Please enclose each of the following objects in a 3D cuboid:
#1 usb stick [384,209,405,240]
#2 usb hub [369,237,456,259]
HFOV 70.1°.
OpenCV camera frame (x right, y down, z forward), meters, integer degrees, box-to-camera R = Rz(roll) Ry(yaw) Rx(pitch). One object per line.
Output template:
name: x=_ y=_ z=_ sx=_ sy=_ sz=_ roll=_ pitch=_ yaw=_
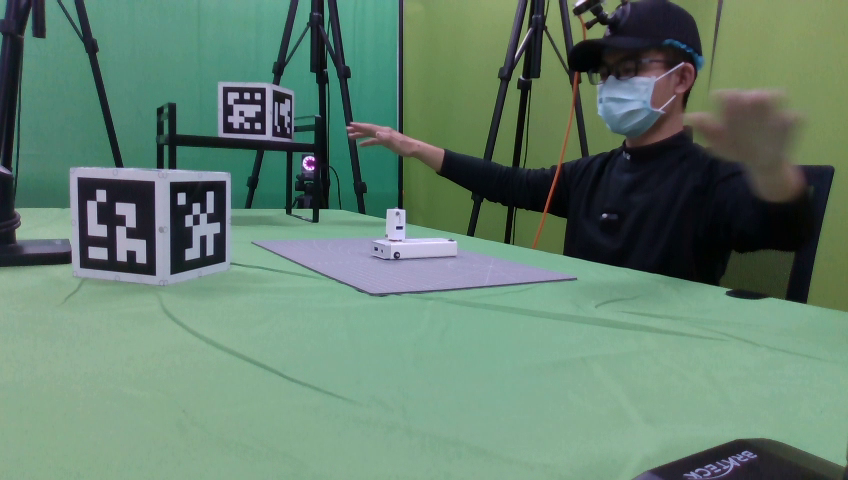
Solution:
usb stick: x=-0.044 y=-0.016 z=0.892 sx=0.021 sy=0.059 sz=0.027 roll=-1 pitch=9 yaw=-35
usb hub: x=-0.016 y=0.012 z=0.909 sx=0.126 sy=0.025 sz=0.049 roll=-2 pitch=9 yaw=-32
